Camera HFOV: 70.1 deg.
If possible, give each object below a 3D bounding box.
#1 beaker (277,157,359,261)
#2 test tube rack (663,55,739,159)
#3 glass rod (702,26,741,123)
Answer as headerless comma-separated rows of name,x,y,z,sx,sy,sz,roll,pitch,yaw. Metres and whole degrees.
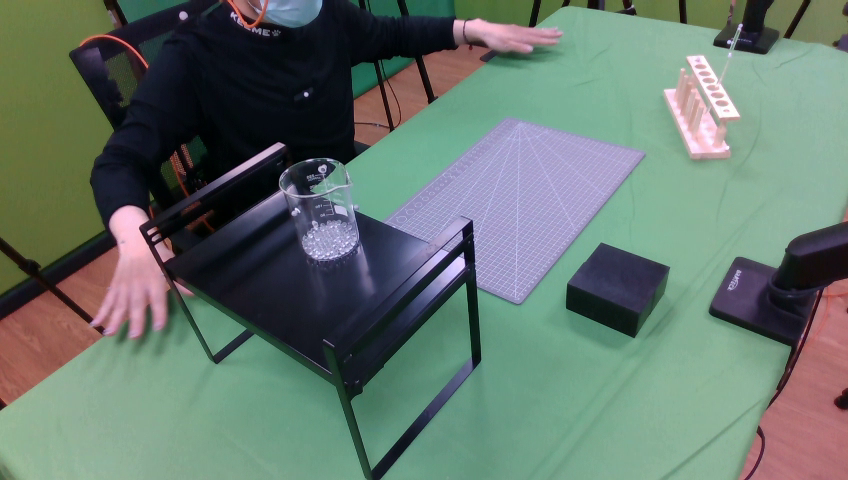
beaker,-0.114,-0.033,0.688,0.084,0.101,0.074,5,43,13
test tube rack,0.518,-0.256,1.144,0.066,0.085,0.241,-1,41,8
glass rod,0.527,-0.288,1.078,0.008,0.200,0.008,-1,50,2
